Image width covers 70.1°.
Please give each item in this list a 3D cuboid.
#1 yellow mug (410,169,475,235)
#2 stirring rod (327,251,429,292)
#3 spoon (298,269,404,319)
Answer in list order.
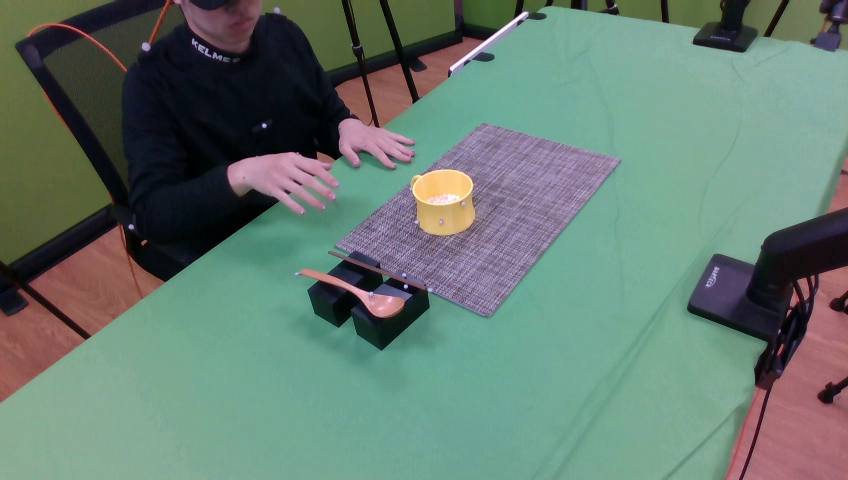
[{"bbox_3d":[0.022,-0.070,1.007,0.129,0.064,0.100,29,52,36],"label":"yellow mug"},{"bbox_3d":[-0.068,0.043,0.858,0.175,0.006,0.014,18,9,27],"label":"stirring rod"},{"bbox_3d":[-0.106,0.068,0.831,0.192,0.022,0.042,21,49,32],"label":"spoon"}]
